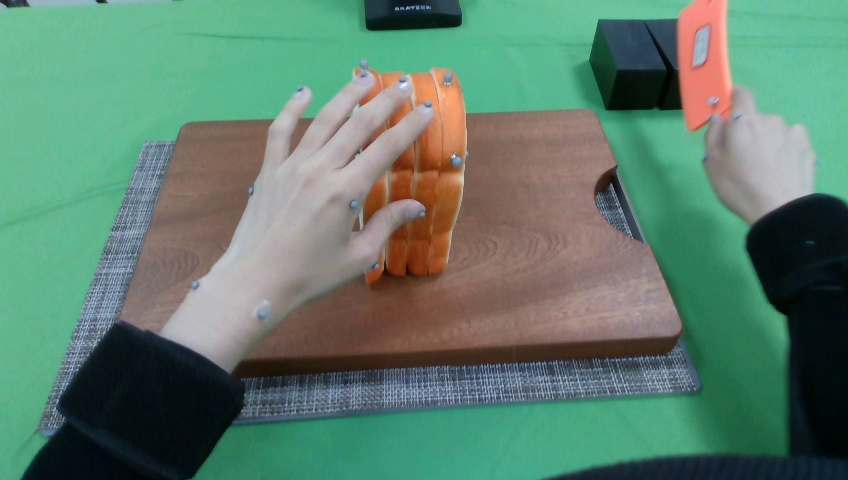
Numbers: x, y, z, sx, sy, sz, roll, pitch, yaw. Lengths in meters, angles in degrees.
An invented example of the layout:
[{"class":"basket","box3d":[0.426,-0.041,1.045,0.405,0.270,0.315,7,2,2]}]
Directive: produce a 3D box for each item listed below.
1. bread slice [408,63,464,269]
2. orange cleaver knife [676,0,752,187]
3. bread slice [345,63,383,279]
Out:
[{"class":"bread slice","box3d":[0.007,-0.058,0.443,0.019,0.132,0.103,-1,48,-10]},{"class":"orange cleaver knife","box3d":[0.249,-0.136,0.532,0.012,0.077,0.210,5,71,-11]},{"class":"bread slice","box3d":[-0.045,-0.056,0.438,0.018,0.135,0.106,-4,43,-11]}]
